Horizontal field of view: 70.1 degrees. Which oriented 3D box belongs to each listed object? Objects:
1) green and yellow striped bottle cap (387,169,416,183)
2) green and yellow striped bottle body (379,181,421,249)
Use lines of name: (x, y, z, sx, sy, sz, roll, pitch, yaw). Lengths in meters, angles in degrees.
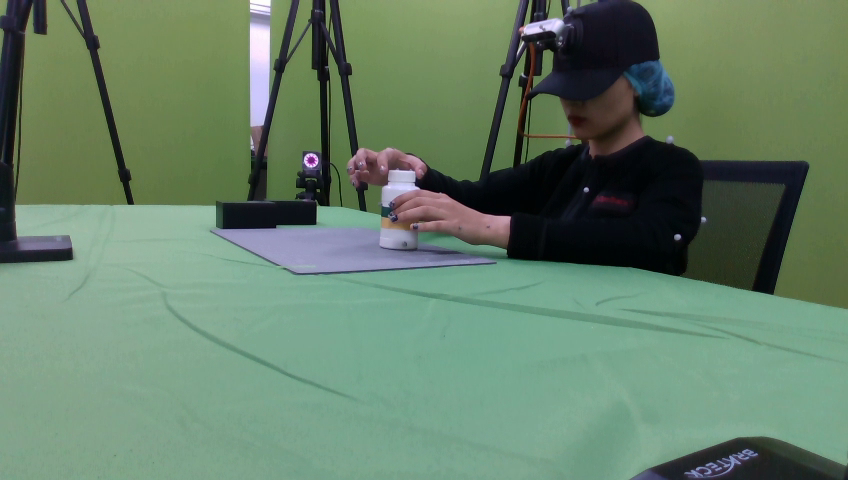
green and yellow striped bottle cap: (-0.036, -0.101, 0.954, 0.045, 0.020, 0.045, 4, 7, 0)
green and yellow striped bottle body: (-0.038, -0.048, 0.960, 0.063, 0.119, 0.063, 3, 7, 0)
